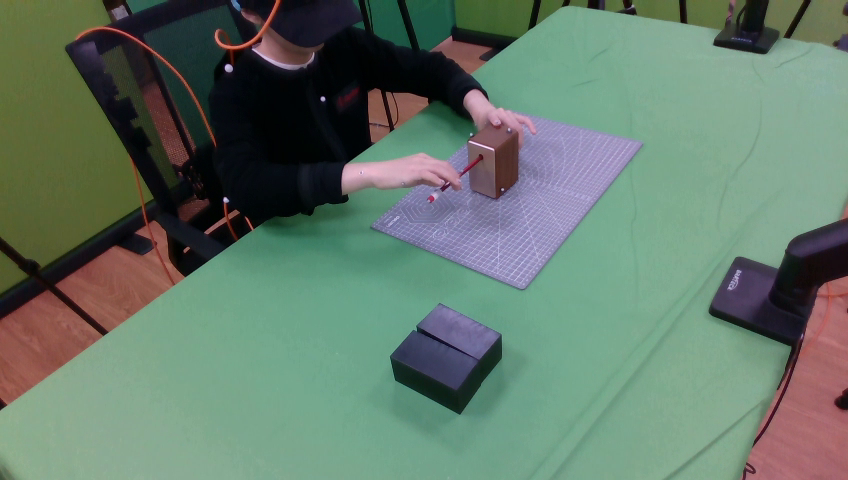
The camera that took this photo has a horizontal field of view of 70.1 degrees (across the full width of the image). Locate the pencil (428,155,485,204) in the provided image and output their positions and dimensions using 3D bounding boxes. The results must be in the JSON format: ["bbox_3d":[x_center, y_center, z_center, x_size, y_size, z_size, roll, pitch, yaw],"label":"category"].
[{"bbox_3d":[0.071,-0.113,0.989,0.012,0.012,0.194,26,51,33],"label":"pencil"}]

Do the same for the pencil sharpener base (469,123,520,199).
[{"bbox_3d":[0.125,-0.138,1.050,0.061,0.107,0.077,24,50,33],"label":"pencil sharpener base"}]

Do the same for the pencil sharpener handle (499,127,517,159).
[{"bbox_3d":[0.154,-0.176,1.071,0.036,0.068,0.031,32,53,25],"label":"pencil sharpener handle"}]
